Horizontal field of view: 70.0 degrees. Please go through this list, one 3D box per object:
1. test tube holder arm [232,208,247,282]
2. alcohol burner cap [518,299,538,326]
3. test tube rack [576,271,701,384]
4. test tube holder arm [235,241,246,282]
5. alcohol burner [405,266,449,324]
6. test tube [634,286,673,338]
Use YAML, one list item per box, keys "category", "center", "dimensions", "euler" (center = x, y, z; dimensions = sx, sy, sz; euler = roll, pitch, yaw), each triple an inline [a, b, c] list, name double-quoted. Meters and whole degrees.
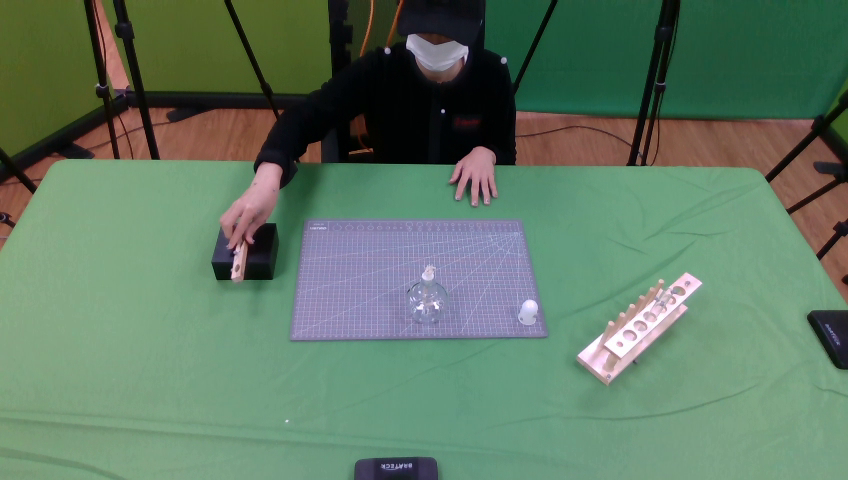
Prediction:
- category: "test tube holder arm"
  center: [-0.335, 0.006, 1.102]
  dimensions: [0.013, 0.015, 0.177]
  euler: [-10, 47, -2]
- category: "alcohol burner cap"
  center: [0.186, 0.126, 1.072]
  dimensions: [0.034, 0.048, 0.033]
  euler: [1, 45, -1]
- category: "test tube rack"
  center: [0.373, 0.138, 1.047]
  dimensions: [0.242, 0.085, 0.066]
  euler: [-31, 56, -29]
- category: "test tube holder arm"
  center: [-0.323, 0.037, 1.071]
  dimensions: [0.010, 0.015, 0.087]
  euler: [-9, 47, -1]
- category: "alcohol burner"
  center: [0.005, 0.089, 1.043]
  dimensions: [0.078, 0.120, 0.077]
  euler: [1, 45, -1]
- category: "test tube"
  center: [0.374, 0.123, 0.993]
  dimensions: [0.017, 0.151, 0.017]
  euler: [2, 52, -2]
